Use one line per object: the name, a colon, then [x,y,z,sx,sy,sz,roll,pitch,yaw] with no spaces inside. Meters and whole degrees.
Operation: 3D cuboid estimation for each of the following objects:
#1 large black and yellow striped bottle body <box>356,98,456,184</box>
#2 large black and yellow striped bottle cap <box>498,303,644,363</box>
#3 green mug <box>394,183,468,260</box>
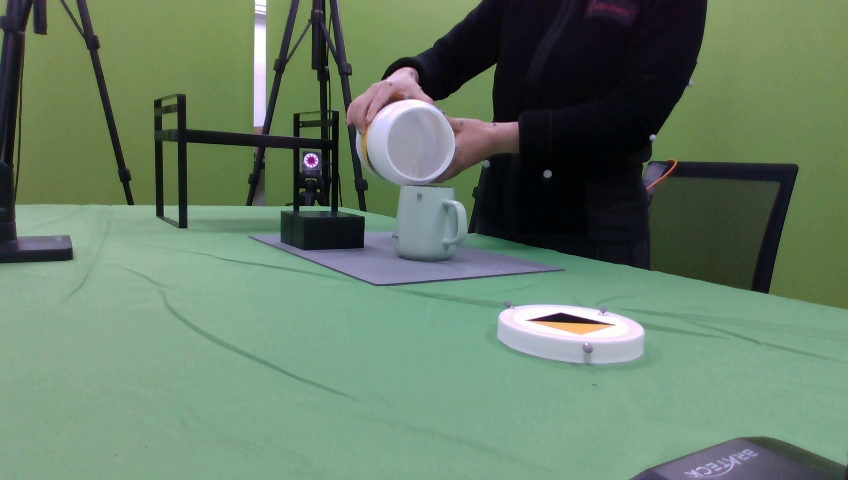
large black and yellow striped bottle body: [-0.030,-0.156,0.954,0.131,0.130,0.183,0,10,-16]
large black and yellow striped bottle cap: [0.117,0.072,0.486,0.115,0.019,0.115,1,8,0]
green mug: [0.015,-0.026,0.858,0.093,0.105,0.124,-3,9,-41]
